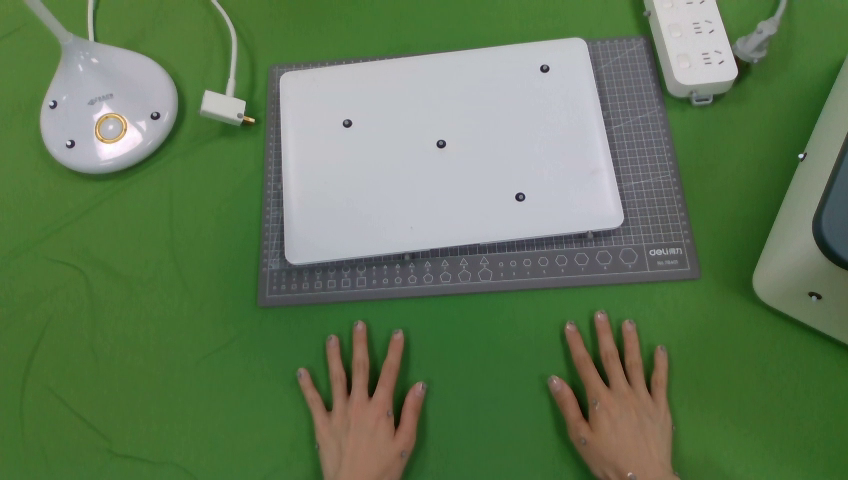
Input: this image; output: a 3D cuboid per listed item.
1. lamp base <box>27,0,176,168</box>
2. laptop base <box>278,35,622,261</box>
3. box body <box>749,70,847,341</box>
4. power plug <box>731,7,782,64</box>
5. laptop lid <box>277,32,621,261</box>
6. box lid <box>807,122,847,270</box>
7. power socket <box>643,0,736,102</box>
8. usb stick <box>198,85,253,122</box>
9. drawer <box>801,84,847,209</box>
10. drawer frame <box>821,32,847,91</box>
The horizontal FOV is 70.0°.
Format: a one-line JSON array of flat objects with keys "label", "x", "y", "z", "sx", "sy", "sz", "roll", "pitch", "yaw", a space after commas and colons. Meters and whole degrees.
[{"label": "lamp base", "x": -0.379, "y": -0.193, "z": 0.634, "sx": 0.160, "sy": 0.181, "sz": 0.177, "roll": -31, "pitch": 68, "yaw": -8}, {"label": "laptop base", "x": 0.018, "y": -0.105, "z": 0.666, "sx": 0.354, "sy": 0.023, "sz": 0.234, "roll": -7, "pitch": 73, "yaw": 1}, {"label": "box body", "x": 0.493, "y": -0.063, "z": 0.547, "sx": 0.253, "sy": 0.161, "sz": 0.363, "roll": 28, "pitch": 74, "yaw": 12}, {"label": "power plug", "x": 0.374, "y": -0.223, "z": 0.677, "sx": 0.073, "sy": 0.053, "sz": 0.035, "roll": -23, "pitch": 65, "yaw": -24}, {"label": "laptop lid", "x": 0.018, "y": -0.107, "z": 0.654, "sx": 0.357, "sy": 0.013, "sz": 0.240, "roll": -5, "pitch": 72, "yaw": 2}, {"label": "box lid", "x": 0.489, "y": -0.090, "z": 0.478, "sx": 0.262, "sy": 0.015, "sz": 0.370, "roll": 28, "pitch": 75, "yaw": 13}, {"label": "power socket", "x": 0.297, "y": -0.265, "z": 0.700, "sx": 0.072, "sy": 0.033, "sz": 0.225, "roll": -5, "pitch": 70, "yaw": 1}, {"label": "usb stick", "x": -0.222, "y": -0.151, "z": 0.684, "sx": 0.059, "sy": 0.021, "sz": 0.027, "roll": 16, "pitch": 73, "yaw": -26}, {"label": "drawer", "x": 0.513, "y": -0.106, "z": 0.587, "sx": 0.193, "sy": 0.074, "sz": 0.211, "roll": 26, "pitch": 79, "yaw": 16}, {"label": "drawer frame", "x": 0.491, "y": -0.108, "z": 0.542, "sx": 0.083, "sy": 0.212, "sz": 0.203, "roll": -32, "pitch": 105, "yaw": 5}]
